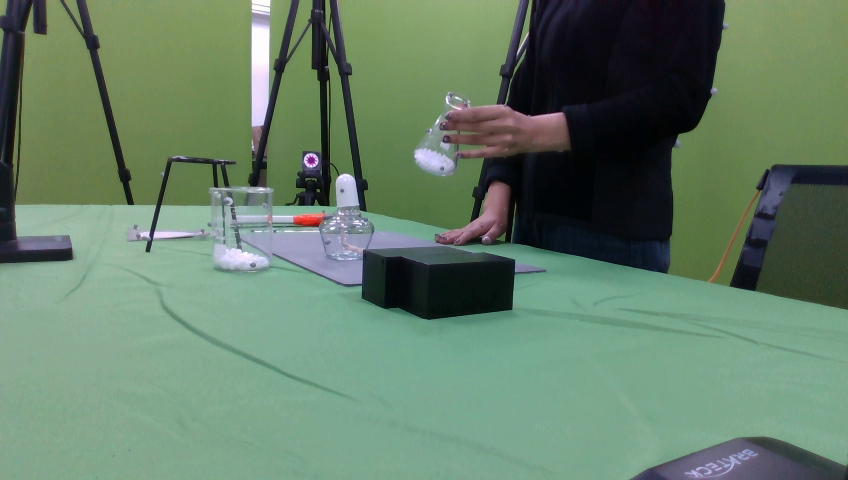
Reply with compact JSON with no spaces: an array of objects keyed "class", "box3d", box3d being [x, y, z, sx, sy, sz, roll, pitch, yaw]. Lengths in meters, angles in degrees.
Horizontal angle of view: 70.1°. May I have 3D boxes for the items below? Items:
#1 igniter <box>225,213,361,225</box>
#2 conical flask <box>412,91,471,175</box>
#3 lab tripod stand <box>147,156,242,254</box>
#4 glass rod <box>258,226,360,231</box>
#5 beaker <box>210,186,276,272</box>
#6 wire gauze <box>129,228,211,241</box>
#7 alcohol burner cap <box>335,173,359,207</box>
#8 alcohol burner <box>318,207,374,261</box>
[{"class":"igniter","box3d":[-0.257,-0.042,1.221,0.278,0.025,0.057,-2,-2,-32]},{"class":"conical flask","box3d":[0.034,-0.168,0.934,0.075,0.122,0.075,16,32,-10]},{"class":"lab tripod stand","box3d":[-0.310,-0.050,0.858,0.148,0.131,0.148,4,6,0]},{"class":"glass rod","box3d":[-0.215,-0.022,1.151,0.201,0.008,0.008,-2,8,-27]},{"class":"beaker","box3d":[-0.224,-0.014,0.738,0.084,0.100,0.074,4,7,16]},{"class":"wire gauze","box3d":[-0.419,-0.010,0.999,0.122,0.011,0.124,0,6,-25]},{"class":"alcohol burner cap","box3d":[-0.108,-0.068,0.829,0.034,0.048,0.034,-7,4,1]},{"class":"alcohol burner","box3d":[-0.107,-0.032,0.833,0.078,0.119,0.078,1,6,0]}]
